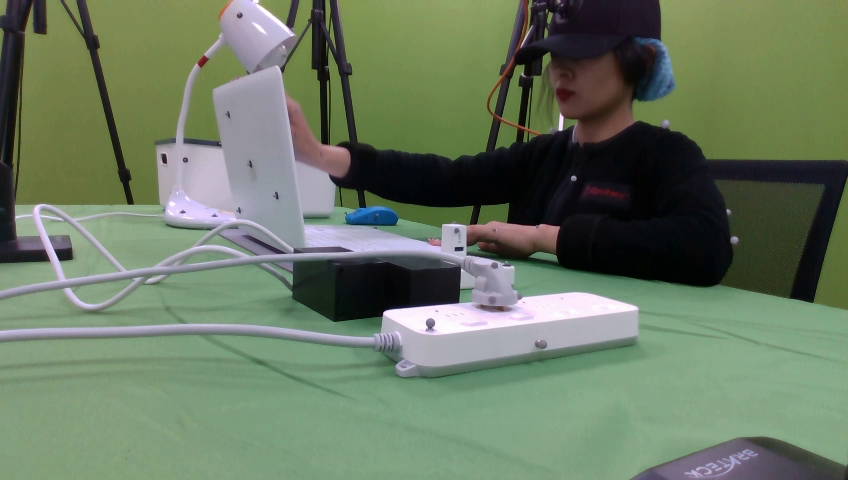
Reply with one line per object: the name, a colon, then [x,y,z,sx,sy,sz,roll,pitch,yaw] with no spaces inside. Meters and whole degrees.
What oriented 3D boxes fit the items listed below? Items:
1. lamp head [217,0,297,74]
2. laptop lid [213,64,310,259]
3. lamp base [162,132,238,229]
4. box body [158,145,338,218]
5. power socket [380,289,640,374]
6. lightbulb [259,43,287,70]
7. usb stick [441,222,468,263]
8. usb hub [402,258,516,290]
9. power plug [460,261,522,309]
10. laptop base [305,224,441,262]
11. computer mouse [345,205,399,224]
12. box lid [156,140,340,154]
lamp head: [-0.315,-0.372,1.102,0.123,0.112,0.112,41,3,-9]
laptop lid: [-0.243,-0.110,0.860,0.013,0.241,0.355,-14,15,-28]
lamp base: [-0.419,-0.116,1.156,0.179,0.180,0.160,0,7,0]
box body: [-0.410,-0.139,1.414,0.366,0.160,0.253,-3,9,-33]
power socket: [0.072,0.064,0.461,0.228,0.032,0.072,-3,7,-30]
lightbulb: [-0.295,-0.357,1.102,0.059,0.107,0.059,-37,1,1]
usb stick: [0.034,0.009,0.685,0.021,0.059,0.027,-2,10,-30]
usb hub: [0.042,0.038,0.690,0.126,0.025,0.049,-2,9,-30]
power plug: [0.043,0.043,0.444,0.035,0.052,0.073,-4,7,45]
laptop base: [-0.127,0.003,0.945,0.237,0.023,0.352,2,6,-31]
computer mouse: [-0.114,-0.055,1.337,0.117,0.041,0.062,-4,11,-19]
box lid: [-0.409,-0.213,1.404,0.373,0.015,0.262,-2,8,-32]
